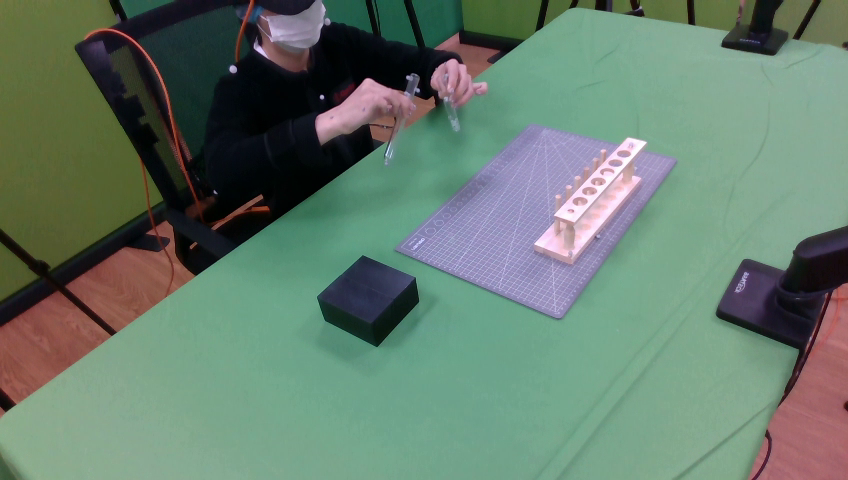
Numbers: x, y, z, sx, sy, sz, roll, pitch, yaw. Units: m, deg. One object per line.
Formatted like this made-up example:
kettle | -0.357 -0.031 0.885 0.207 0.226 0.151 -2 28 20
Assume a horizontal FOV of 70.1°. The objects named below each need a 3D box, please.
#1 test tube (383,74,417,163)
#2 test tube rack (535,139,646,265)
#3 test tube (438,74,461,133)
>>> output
test tube | -0.039 -0.194 0.967 0.017 0.017 0.150 14 84 24
test tube rack | 0.269 -0.071 0.964 0.066 0.085 0.243 23 49 32
test tube | 0.047 -0.238 1.068 0.017 0.151 0.017 -5 62 11
